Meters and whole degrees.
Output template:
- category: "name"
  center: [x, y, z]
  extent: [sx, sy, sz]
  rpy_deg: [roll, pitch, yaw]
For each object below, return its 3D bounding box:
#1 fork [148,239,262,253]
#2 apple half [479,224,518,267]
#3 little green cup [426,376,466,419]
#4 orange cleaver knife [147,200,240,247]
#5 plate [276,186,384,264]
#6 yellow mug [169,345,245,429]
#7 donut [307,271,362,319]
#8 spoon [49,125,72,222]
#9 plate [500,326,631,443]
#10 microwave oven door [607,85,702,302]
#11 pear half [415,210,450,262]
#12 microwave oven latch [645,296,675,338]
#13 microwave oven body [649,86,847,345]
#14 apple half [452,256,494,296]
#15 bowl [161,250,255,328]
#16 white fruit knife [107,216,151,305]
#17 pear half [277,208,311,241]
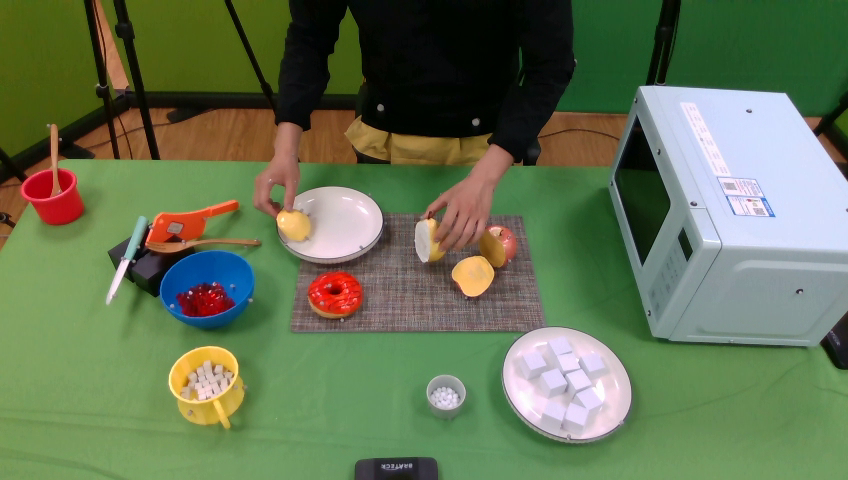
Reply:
- category: "fork"
  center: [-0.398, 0.008, 1.117]
  extent: [0.208, 0.019, 0.028]
  rpy_deg: [-5, 34, -37]
- category: "apple half"
  center: [0.148, 0.008, 1.160]
  extent: [0.053, 0.075, 0.080]
  rpy_deg: [-24, 48, -29]
- category: "little green cup"
  center: [0.033, 0.248, 0.950]
  extent: [0.061, 0.039, 0.061]
  rpy_deg: [2, 46, -2]
- category: "orange cleaver knife"
  center: [-0.435, -0.033, 1.157]
  extent: [0.012, 0.077, 0.211]
  rpy_deg: [31, 26, 18]
- category: "plate"
  center: [-0.184, -0.027, 1.194]
  extent: [0.209, 0.038, 0.208]
  rpy_deg: [2, 46, -2]
- category: "yellow mug"
  center: [-0.322, 0.230, 0.922]
  extent: [0.100, 0.064, 0.130]
  rpy_deg: [-24, 53, -25]
- category: "donut"
  center: [-0.157, 0.097, 1.073]
  extent: [0.099, 0.048, 0.098]
  rpy_deg: [4, 45, -4]
- category: "spoon"
  center: [-0.717, -0.131, 1.189]
  extent: [0.042, 0.021, 0.193]
  rpy_deg: [-3, 90, -7]
- category: "plate"
  center: [0.224, 0.233, 0.978]
  extent: [0.208, 0.039, 0.206]
  rpy_deg: [2, 46, -2]
- category: "microwave oven door"
  center: [0.423, -0.094, 1.140]
  extent: [0.039, 0.245, 0.353]
  rpy_deg: [2, 46, -1]
- category: "pear half"
  center: [0.019, -0.014, 1.112]
  extent: [0.056, 0.110, 0.076]
  rpy_deg: [-18, 50, -23]
- category: "microwave oven latch"
  center: [0.412, 0.134, 1.061]
  extent: [0.030, 0.029, 0.078]
  rpy_deg: [3, 45, 0]
- category: "microwave oven body"
  center: [0.567, -0.053, 1.118]
  extent: [0.326, 0.261, 0.439]
  rpy_deg: [2, 45, -1]
- category: "apple half"
  center: [0.095, 0.070, 1.120]
  extent: [0.081, 0.033, 0.081]
  rpy_deg: [-7, 62, 13]
- category: "bowl"
  center: [-0.362, 0.097, 1.040]
  extent: [0.151, 0.077, 0.150]
  rpy_deg: [2, 45, -2]
- category: "white fruit knife"
  center: [-0.518, 0.032, 1.066]
  extent: [0.027, 0.016, 0.206]
  rpy_deg: [-18, 45, 19]
- category: "pear half"
  center: [-0.243, -0.037, 1.171]
  extent: [0.070, 0.031, 0.088]
  rpy_deg: [58, 34, -8]
